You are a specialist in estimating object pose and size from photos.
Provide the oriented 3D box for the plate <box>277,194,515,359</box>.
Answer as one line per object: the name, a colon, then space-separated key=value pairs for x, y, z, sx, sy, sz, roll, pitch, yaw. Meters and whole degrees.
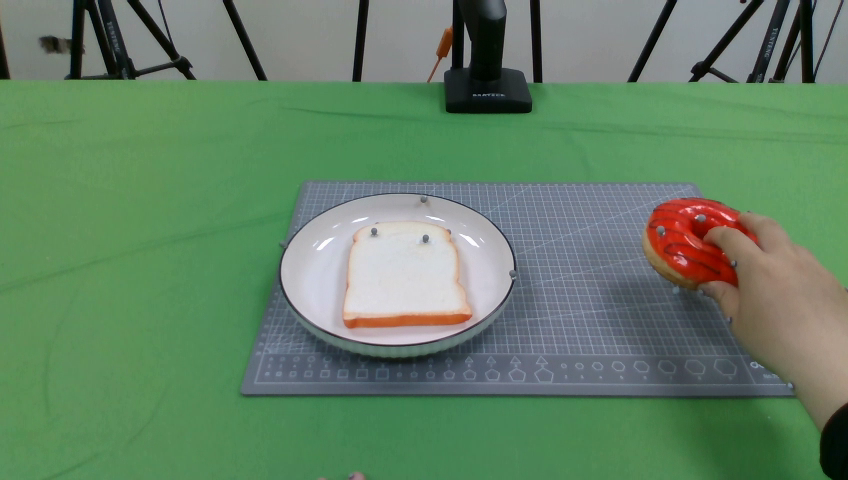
plate: x=-0.024 y=0.031 z=0.544 sx=0.209 sy=0.038 sz=0.207 roll=1 pitch=38 yaw=0

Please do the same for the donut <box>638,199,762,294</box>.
donut: x=0.233 y=0.005 z=0.514 sx=0.099 sy=0.048 sz=0.098 roll=1 pitch=46 yaw=-1

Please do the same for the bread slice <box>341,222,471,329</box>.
bread slice: x=-0.022 y=0.029 z=0.549 sx=0.107 sy=0.018 sz=0.133 roll=-3 pitch=39 yaw=-7
